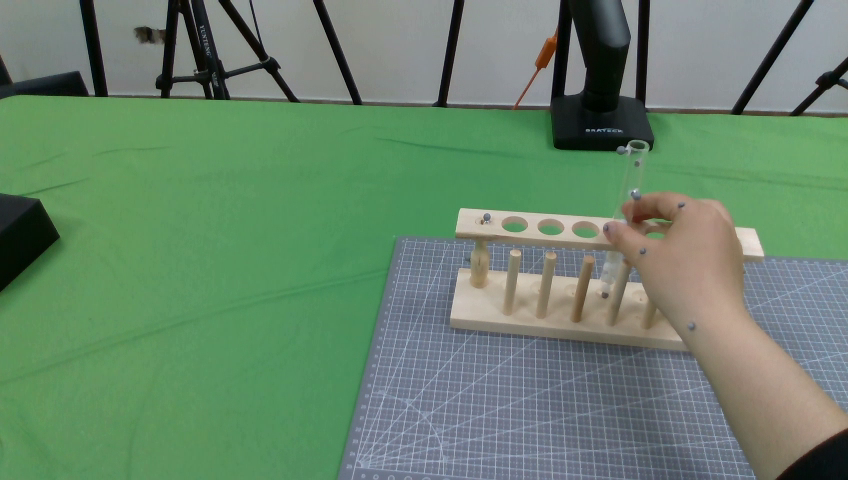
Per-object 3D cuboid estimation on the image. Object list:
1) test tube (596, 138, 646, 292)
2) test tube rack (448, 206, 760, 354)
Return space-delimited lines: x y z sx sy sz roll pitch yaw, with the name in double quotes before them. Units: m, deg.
"test tube" 0.158 -0.014 0.492 0.017 0.151 0.017 -1 40 1
"test tube rack" 0.144 0.033 0.515 0.242 0.086 0.066 5 41 7
